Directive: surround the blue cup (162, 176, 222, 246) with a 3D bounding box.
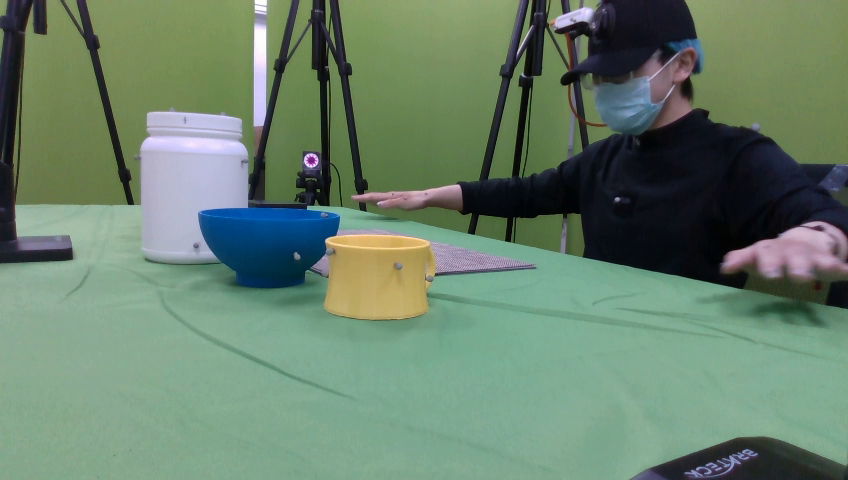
[{"bbox_3d":[-0.356,-0.045,0.929,0.093,0.100,0.092,4,8,0],"label":"blue cup"}]

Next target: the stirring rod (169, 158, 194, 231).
[{"bbox_3d":[-0.424,-0.082,1.060,0.014,0.006,0.175,2,50,-10],"label":"stirring rod"}]

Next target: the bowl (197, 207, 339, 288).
[{"bbox_3d":[-0.171,0.008,0.671,0.151,0.077,0.151,2,7,0],"label":"bowl"}]

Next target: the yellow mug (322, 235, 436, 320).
[{"bbox_3d":[-0.034,0.031,0.581,0.099,0.064,0.131,8,8,42],"label":"yellow mug"}]

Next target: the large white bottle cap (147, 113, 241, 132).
[{"bbox_3d":[-0.297,-0.151,0.786,0.115,0.018,0.115,2,7,0],"label":"large white bottle cap"}]

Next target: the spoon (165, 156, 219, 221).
[{"bbox_3d":[-0.451,-0.105,1.193,0.041,0.022,0.193,5,51,17],"label":"spoon"}]

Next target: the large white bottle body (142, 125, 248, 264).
[{"bbox_3d":[-0.300,-0.068,0.797,0.131,0.184,0.130,2,7,0],"label":"large white bottle body"}]
